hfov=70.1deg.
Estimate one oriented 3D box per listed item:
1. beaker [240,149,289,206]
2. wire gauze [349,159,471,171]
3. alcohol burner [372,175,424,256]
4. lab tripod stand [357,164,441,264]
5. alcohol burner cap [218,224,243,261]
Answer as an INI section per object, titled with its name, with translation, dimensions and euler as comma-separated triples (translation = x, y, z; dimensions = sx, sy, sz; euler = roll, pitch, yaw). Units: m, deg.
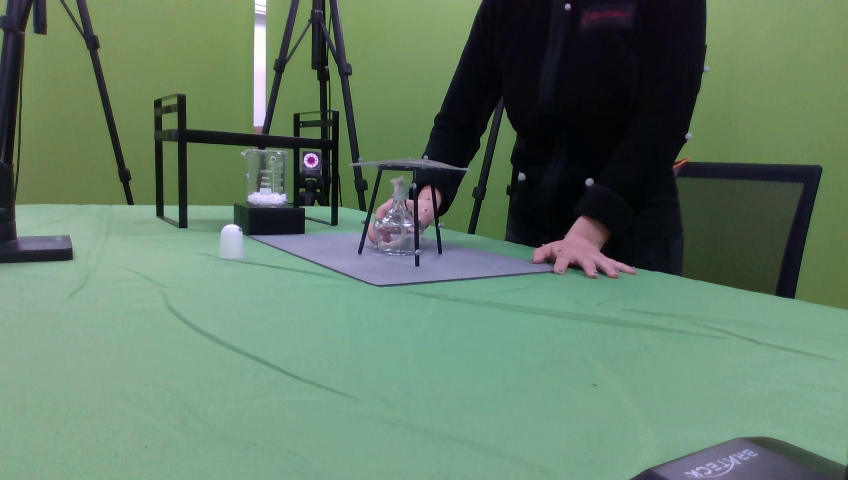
[beaker]
translation = -0.286, -0.112, 1.086
dimensions = 0.084, 0.100, 0.073
euler = -1, 9, -23
[wire gauze]
translation = -0.019, -0.106, 0.847
dimensions = 0.121, 0.011, 0.126
euler = 8, 7, 42
[alcohol burner]
translation = -0.038, -0.036, 0.899
dimensions = 0.078, 0.119, 0.078
euler = 1, 9, 0
[lab tripod stand]
translation = -0.023, -0.041, 0.859
dimensions = 0.148, 0.131, 0.148
euler = 2, 5, 0
[alcohol burner cap]
translation = -0.263, 0.002, 0.824
dimensions = 0.034, 0.048, 0.034
euler = 5, 9, 0
